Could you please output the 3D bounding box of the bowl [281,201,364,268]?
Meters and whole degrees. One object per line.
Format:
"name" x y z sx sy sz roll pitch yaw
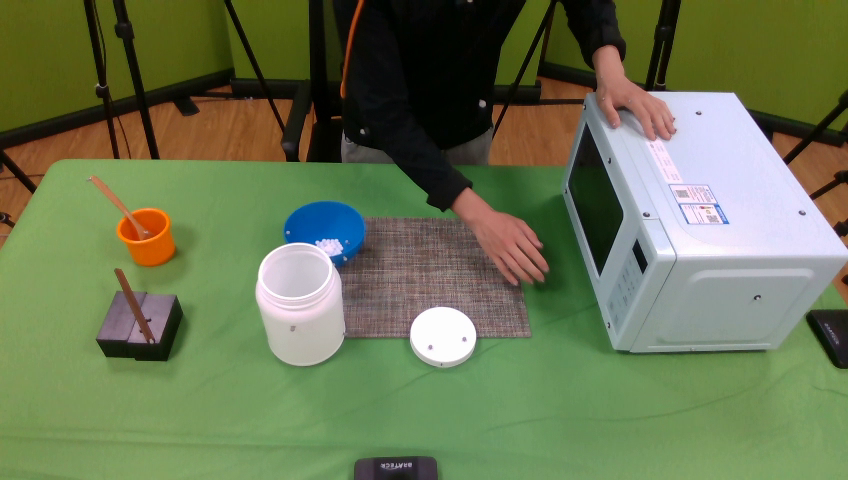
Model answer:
"bowl" -0.187 0.005 1.138 0.151 0.077 0.150 3 46 -3

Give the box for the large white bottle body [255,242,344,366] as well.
"large white bottle body" -0.196 0.102 0.967 0.131 0.185 0.130 2 49 -2

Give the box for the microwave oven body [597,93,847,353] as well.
"microwave oven body" 0.475 -0.041 1.110 0.326 0.261 0.438 -1 45 -4

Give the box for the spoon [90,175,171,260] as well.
"spoon" -0.539 -0.042 1.111 0.021 0.194 0.041 -13 27 53

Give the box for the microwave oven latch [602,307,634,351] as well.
"microwave oven latch" 0.332 0.153 1.044 0.030 0.029 0.078 -1 45 -4

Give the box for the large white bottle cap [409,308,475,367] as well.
"large white bottle cap" 0.031 0.166 1.041 0.115 0.018 0.114 2 46 -2

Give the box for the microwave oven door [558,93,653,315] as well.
"microwave oven door" 0.327 -0.074 1.123 0.039 0.245 0.353 -1 46 -5

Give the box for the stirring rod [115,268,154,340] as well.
"stirring rod" -0.479 0.103 0.999 0.014 0.006 0.175 7 32 -49

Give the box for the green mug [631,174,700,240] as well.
"green mug" 0.455 -0.059 1.156 0.125 0.105 0.092 -13 47 -11
